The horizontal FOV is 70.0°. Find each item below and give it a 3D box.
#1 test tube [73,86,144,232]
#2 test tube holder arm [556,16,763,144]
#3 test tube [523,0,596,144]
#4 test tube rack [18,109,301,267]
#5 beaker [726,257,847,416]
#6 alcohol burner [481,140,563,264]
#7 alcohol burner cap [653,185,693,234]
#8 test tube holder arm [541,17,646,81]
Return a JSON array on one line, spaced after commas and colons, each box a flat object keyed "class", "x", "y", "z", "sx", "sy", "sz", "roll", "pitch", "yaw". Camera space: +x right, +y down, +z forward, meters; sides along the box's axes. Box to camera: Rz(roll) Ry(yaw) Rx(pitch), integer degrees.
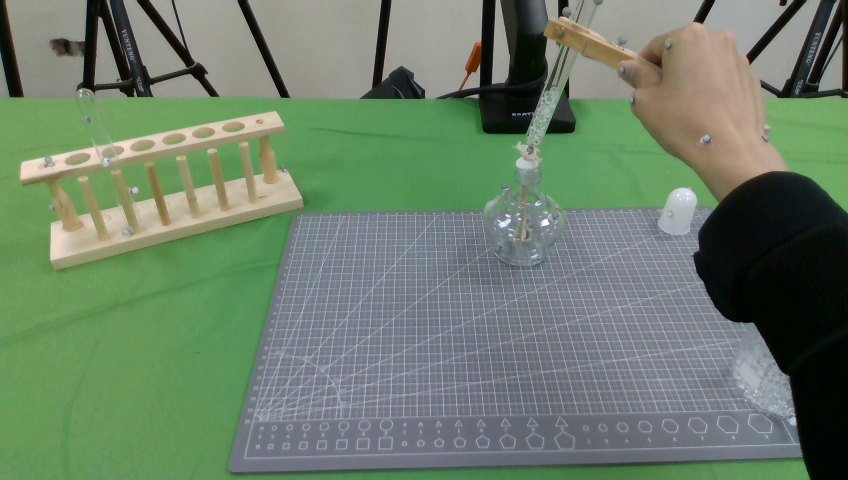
[{"class": "test tube", "x": -0.289, "y": -0.070, "z": 0.558, "sx": 0.017, "sy": 0.152, "sz": 0.017, "roll": -1, "pitch": 38, "yaw": 1}, {"class": "test tube holder arm", "x": 0.159, "y": -0.119, "z": 0.433, "sx": 0.013, "sy": 0.015, "sz": 0.176, "roll": -22, "pitch": 51, "yaw": -37}, {"class": "test tube", "x": 0.108, "y": -0.141, "z": 0.477, "sx": 0.017, "sy": 0.151, "sz": 0.017, "roll": 10, "pitch": 39, "yaw": -8}, {"class": "test tube rack", "x": -0.256, "y": -0.057, "z": 0.612, "sx": 0.243, "sy": 0.086, "sz": 0.066, "roll": -16, "pitch": 42, "yaw": -19}, {"class": "beaker", "x": 0.269, "y": 0.072, "z": 0.443, "sx": 0.074, "sy": 0.101, "sz": 0.083, "roll": -20, "pitch": 43, "yaw": -23}, {"class": "alcohol burner", "x": 0.092, "y": -0.037, "z": 0.563, "sx": 0.078, "sy": 0.120, "sz": 0.077, "roll": -1, "pitch": 38, "yaw": 1}, {"class": "alcohol burner cap", "x": 0.255, "y": -0.034, "z": 0.616, "sx": 0.034, "sy": 0.048, "sz": 0.033, "roll": 0, "pitch": 40, "yaw": 0}, {"class": "test tube holder arm", "x": 0.125, "y": -0.143, "z": 0.450, "sx": 0.087, "sy": 0.015, "sz": 0.010, "roll": 36, "pitch": 42, "yaw": 24}]
